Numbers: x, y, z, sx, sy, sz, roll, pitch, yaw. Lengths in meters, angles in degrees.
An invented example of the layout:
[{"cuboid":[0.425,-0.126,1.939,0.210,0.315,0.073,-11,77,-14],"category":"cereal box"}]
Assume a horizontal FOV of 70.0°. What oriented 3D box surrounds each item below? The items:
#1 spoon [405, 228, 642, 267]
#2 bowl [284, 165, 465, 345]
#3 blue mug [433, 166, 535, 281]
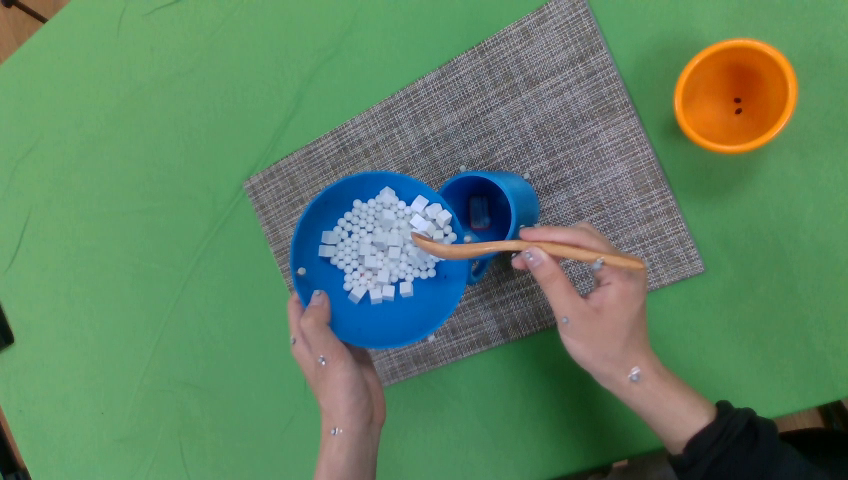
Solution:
[{"cuboid":[0.065,0.004,0.455,0.192,0.042,0.021,2,79,35],"category":"spoon"},{"cuboid":[-0.046,0.017,0.534,0.152,0.077,0.151,2,81,-11],"category":"bowl"},{"cuboid":[0.055,-0.016,0.599,0.082,0.106,0.117,17,103,19],"category":"blue mug"}]
